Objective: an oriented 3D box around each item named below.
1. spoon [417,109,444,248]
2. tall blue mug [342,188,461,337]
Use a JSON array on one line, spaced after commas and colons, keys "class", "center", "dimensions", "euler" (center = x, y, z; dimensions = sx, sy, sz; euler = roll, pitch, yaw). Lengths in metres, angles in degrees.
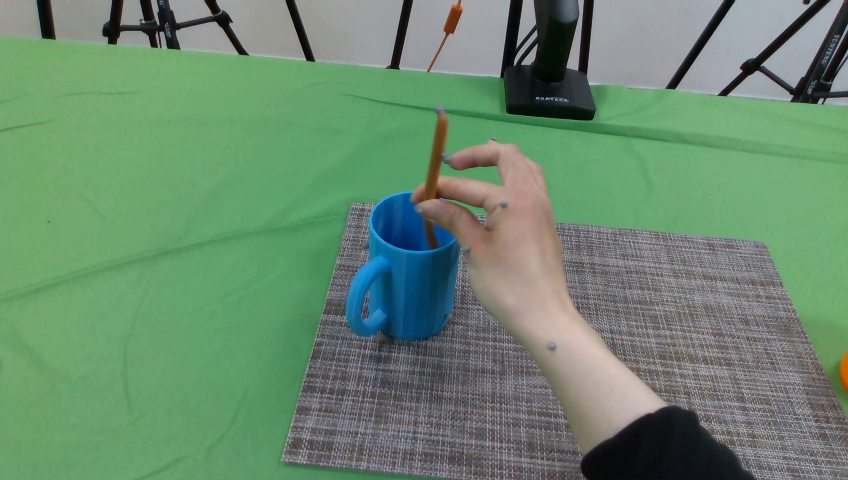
[{"class": "spoon", "center": [0.002, -0.019, 0.454], "dimensions": [0.021, 0.195, 0.041], "euler": [0, 52, 0]}, {"class": "tall blue mug", "center": [-0.017, 0.031, 0.508], "dimensions": [0.077, 0.109, 0.106], "euler": [12, 44, 6]}]
